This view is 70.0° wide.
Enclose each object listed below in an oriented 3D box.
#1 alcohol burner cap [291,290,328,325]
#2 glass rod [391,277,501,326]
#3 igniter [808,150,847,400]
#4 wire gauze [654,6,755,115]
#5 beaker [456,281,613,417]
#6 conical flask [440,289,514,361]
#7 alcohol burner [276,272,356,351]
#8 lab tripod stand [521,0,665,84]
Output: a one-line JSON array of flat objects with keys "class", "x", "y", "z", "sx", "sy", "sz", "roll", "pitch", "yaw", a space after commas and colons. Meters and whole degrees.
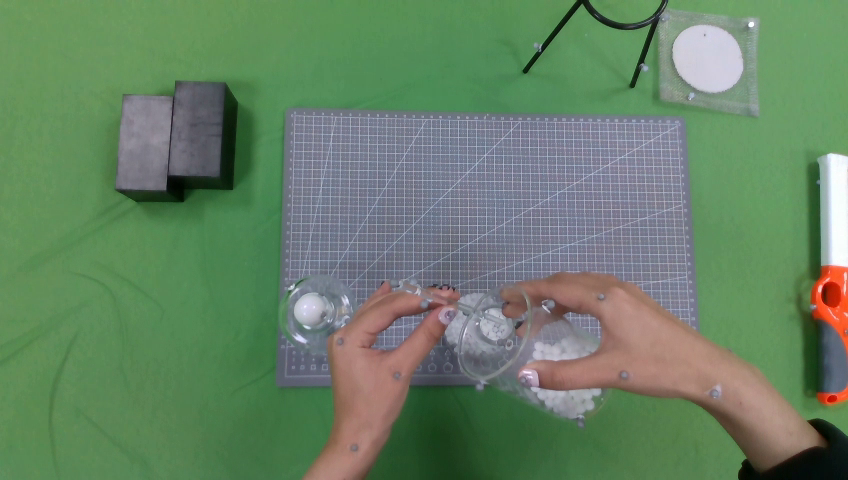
[{"class": "alcohol burner cap", "x": -0.104, "y": 0.061, "z": 0.544, "sx": 0.034, "sy": 0.048, "sz": 0.034, "roll": 1, "pitch": 84, "yaw": -7}, {"class": "glass rod", "x": 0.025, "y": 0.051, "z": 0.472, "sx": 0.008, "sy": 0.201, "sz": 0.008, "roll": -7, "pitch": 72, "yaw": 25}, {"class": "igniter", "x": 0.449, "y": 0.036, "z": 0.668, "sx": 0.057, "sy": 0.025, "sz": 0.275, "roll": 8, "pitch": 81, "yaw": -13}, {"class": "wire gauze", "x": 0.329, "y": -0.213, "z": 0.708, "sx": 0.125, "sy": 0.011, "sz": 0.121, "roll": 7, "pitch": 81, "yaw": -5}, {"class": "beaker", "x": 0.084, "y": 0.084, "z": 0.454, "sx": 0.101, "sy": 0.083, "sz": 0.074, "roll": 31, "pitch": 92, "yaw": -27}, {"class": "conical flask", "x": 0.057, "y": 0.080, "z": 0.585, "sx": 0.075, "sy": 0.122, "sz": 0.075, "roll": 1, "pitch": 80, "yaw": -3}, {"class": "alcohol burner", "x": -0.106, "y": 0.067, "z": 0.580, "sx": 0.078, "sy": 0.119, "sz": 0.077, "roll": 0, "pitch": 80, "yaw": -1}, {"class": "lab tripod stand", "x": 0.182, "y": -0.232, "z": 0.638, "sx": 0.148, "sy": 0.131, "sz": 0.148, "roll": 0, "pitch": 83, "yaw": -3}]
